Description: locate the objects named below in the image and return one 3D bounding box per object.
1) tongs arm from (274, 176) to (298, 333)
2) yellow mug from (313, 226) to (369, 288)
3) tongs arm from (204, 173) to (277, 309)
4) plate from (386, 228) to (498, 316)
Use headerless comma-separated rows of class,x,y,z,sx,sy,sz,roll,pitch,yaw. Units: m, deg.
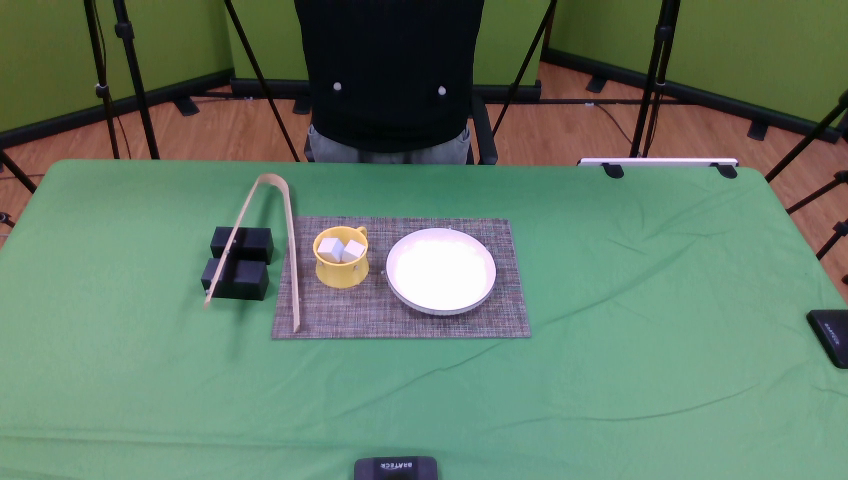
tongs arm,-0.260,0.014,1.154,0.028,0.028,0.385,9,43,-26
yellow mug,-0.146,0.021,1.132,0.099,0.064,0.130,24,49,19
tongs arm,-0.331,-0.012,1.122,0.051,0.026,0.382,21,37,-18
plate,0.032,0.062,1.126,0.208,0.039,0.206,2,46,-2
